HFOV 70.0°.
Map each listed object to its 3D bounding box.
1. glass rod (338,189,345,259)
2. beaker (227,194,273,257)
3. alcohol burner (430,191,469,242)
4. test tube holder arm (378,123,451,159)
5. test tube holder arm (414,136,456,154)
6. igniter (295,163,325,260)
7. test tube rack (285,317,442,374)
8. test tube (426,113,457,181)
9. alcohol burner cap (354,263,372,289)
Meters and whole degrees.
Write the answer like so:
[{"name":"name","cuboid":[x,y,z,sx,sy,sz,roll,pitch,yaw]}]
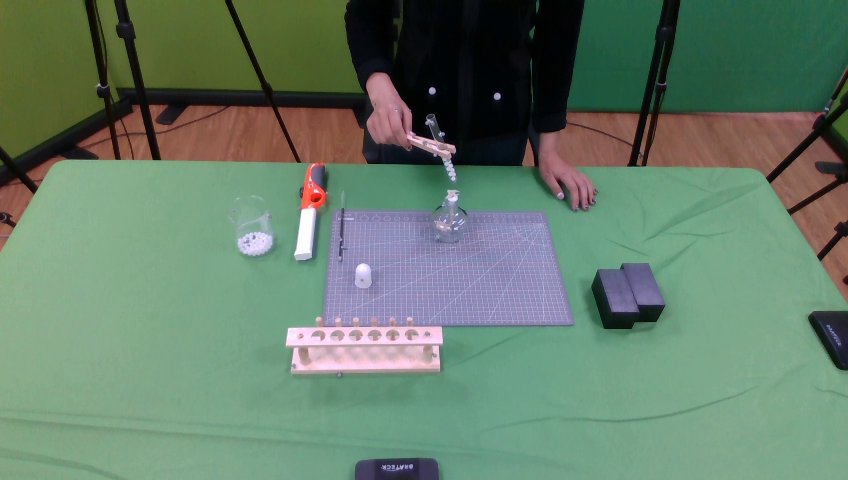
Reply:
[{"name":"glass rod","cuboid":[-0.166,-0.036,1.227,0.008,0.008,0.198,-1,46,-4]},{"name":"beaker","cuboid":[-0.326,-0.022,1.142,0.074,0.101,0.083,10,47,6]},{"name":"alcohol burner","cuboid":[0.051,-0.053,1.185,0.078,0.119,0.077,2,48,-2]},{"name":"test tube holder arm","cuboid":[-0.021,-0.183,1.105,0.177,0.015,0.013,26,61,33]},{"name":"test tube holder arm","cuboid":[0.017,-0.171,1.083,0.087,0.015,0.010,19,57,29]},{"name":"igniter","cuboid":[-0.233,-0.067,1.243,0.057,0.025,0.274,-7,46,4]},{"name":"test tube rack","cuboid":[-0.095,0.166,0.988,0.242,0.085,0.066,0,46,-4]},{"name":"test tube","cuboid":[0.033,-0.161,1.068,0.017,0.151,0.017,-12,46,13]},{"name":"alcohol burner cap","cuboid":[-0.113,0.063,1.111,0.034,0.048,0.033,2,46,-2]}]
